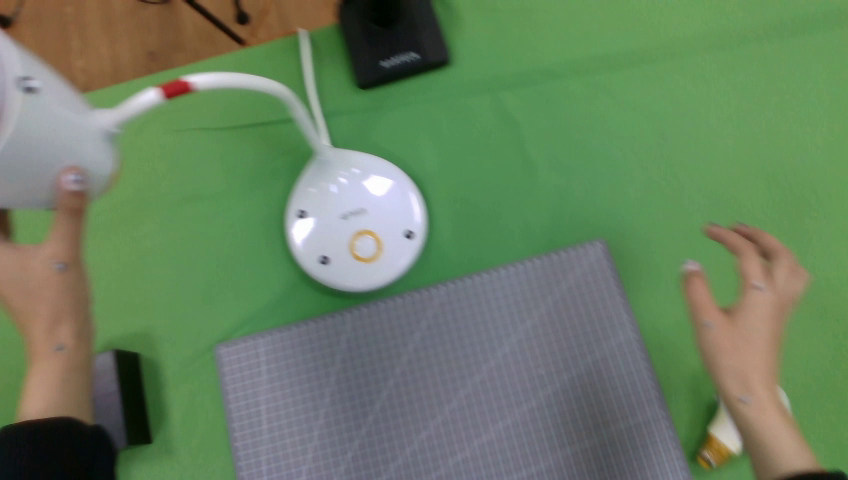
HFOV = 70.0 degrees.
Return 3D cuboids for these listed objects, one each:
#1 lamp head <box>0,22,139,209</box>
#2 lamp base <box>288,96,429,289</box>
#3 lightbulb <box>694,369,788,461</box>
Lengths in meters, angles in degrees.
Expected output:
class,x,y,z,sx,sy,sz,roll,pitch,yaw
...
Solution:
class,x,y,z,sx,sy,sz,roll,pitch,yaw
lamp head,-0.261,-0.072,0.410,0.112,0.124,0.112,-3,79,19
lamp base,-0.087,-0.054,0.616,0.160,0.181,0.178,-28,72,-4
lightbulb,0.308,0.176,0.598,0.059,0.060,0.108,41,98,13
